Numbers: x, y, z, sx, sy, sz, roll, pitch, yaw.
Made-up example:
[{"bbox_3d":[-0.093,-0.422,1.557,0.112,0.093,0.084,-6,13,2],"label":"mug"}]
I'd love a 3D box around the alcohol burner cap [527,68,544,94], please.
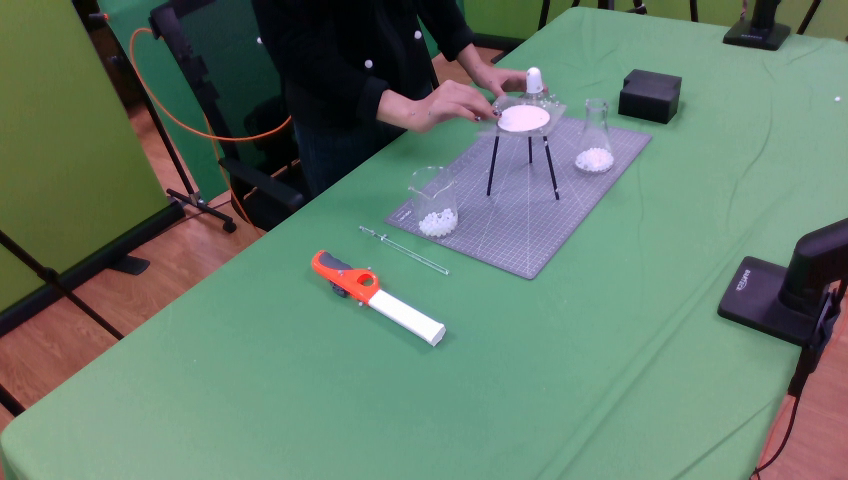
[{"bbox_3d":[0.216,-0.312,1.179,0.034,0.048,0.033,-10,40,9],"label":"alcohol burner cap"}]

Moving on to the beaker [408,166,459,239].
[{"bbox_3d":[0.018,-0.057,0.984,0.074,0.101,0.083,-6,41,5],"label":"beaker"}]

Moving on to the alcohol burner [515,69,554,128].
[{"bbox_3d":[0.221,-0.285,1.203,0.078,0.119,0.077,-4,39,4],"label":"alcohol burner"}]

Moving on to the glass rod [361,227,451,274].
[{"bbox_3d":[-0.033,0.014,0.985,0.198,0.008,0.008,25,52,34],"label":"glass rod"}]

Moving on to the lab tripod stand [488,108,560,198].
[{"bbox_3d":[0.173,-0.150,1.037,0.148,0.132,0.147,-7,38,6],"label":"lab tripod stand"}]

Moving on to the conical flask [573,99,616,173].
[{"bbox_3d":[0.302,-0.184,1.061,0.075,0.122,0.075,-5,40,5],"label":"conical flask"}]

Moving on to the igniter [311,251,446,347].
[{"bbox_3d":[-0.078,0.081,0.899,0.274,0.025,0.057,27,63,35],"label":"igniter"}]

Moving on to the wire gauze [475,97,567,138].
[{"bbox_3d":[0.161,-0.201,0.994,0.121,0.011,0.125,11,43,23],"label":"wire gauze"}]
